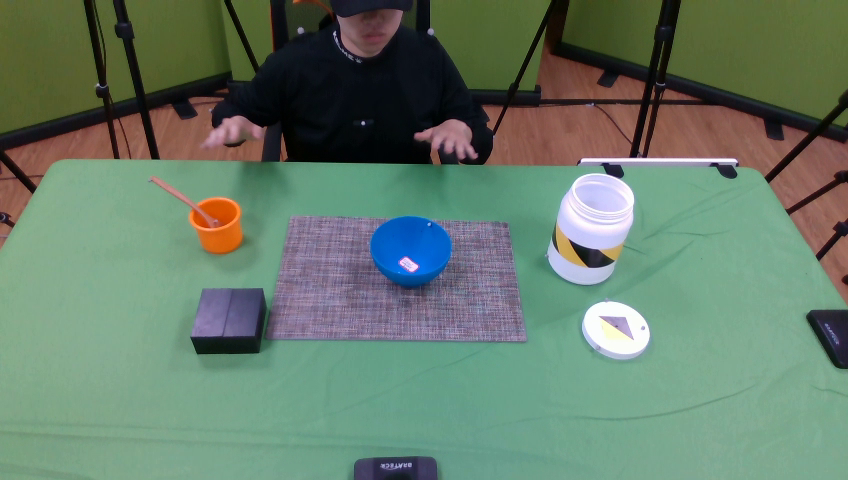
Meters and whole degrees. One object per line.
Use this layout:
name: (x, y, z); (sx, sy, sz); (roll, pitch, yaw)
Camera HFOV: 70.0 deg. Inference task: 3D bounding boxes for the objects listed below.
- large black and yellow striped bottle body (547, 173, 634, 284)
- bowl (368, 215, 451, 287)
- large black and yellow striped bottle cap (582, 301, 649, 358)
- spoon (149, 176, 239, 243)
large black and yellow striped bottle body: (0.309, -0.022, 1.129); (0.131, 0.185, 0.130); (2, 46, -2)
bowl: (-0.028, 0.033, 1.119); (0.151, 0.077, 0.150); (2, 46, -2)
large black and yellow striped bottle cap: (0.340, 0.157, 1.077); (0.115, 0.019, 0.114); (1, 47, -1)
spoon: (-0.427, -0.057, 1.132); (0.021, 0.194, 0.041); (-28, 30, 32)
